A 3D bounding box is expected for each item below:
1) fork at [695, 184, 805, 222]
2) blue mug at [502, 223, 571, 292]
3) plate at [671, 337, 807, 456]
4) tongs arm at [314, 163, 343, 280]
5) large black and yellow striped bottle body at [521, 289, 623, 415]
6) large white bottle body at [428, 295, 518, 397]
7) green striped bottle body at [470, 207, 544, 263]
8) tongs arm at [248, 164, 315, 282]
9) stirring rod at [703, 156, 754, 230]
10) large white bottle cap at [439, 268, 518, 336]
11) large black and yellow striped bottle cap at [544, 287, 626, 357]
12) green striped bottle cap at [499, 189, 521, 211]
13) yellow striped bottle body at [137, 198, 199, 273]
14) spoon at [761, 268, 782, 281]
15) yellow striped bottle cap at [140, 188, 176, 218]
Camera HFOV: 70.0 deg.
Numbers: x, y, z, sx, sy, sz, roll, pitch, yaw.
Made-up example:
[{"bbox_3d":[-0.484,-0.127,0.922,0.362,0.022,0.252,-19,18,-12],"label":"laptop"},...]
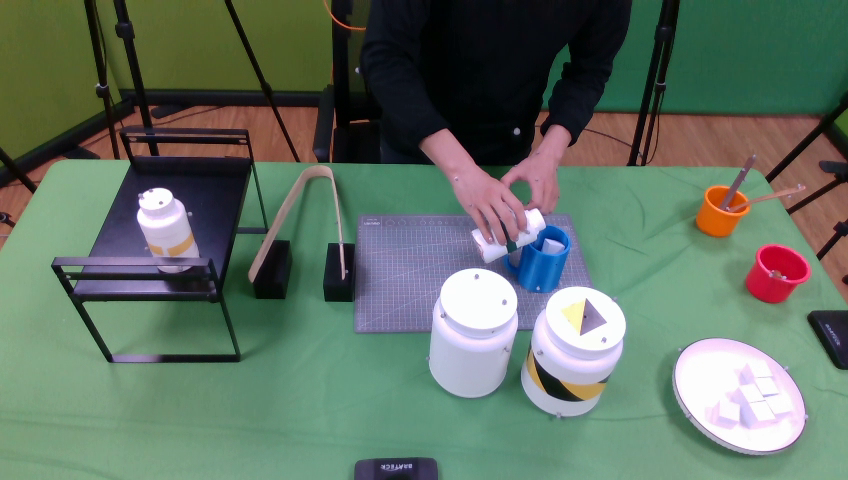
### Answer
[{"bbox_3d":[0.657,-0.075,1.230,0.207,0.019,0.028,-23,34,37],"label":"fork"},{"bbox_3d":[0.202,0.031,1.121,0.116,0.106,0.082,5,47,1],"label":"blue mug"},{"bbox_3d":[0.503,0.254,0.984,0.208,0.039,0.206,2,46,-2],"label":"plate"},{"bbox_3d":[-0.188,-0.049,1.170,0.051,0.026,0.382,-6,35,-6],"label":"tongs arm"},{"bbox_3d":[0.228,0.173,0.937,0.131,0.185,0.130,2,47,-2],"label":"large black and yellow striped bottle body"},{"bbox_3d":[0.075,0.147,0.950,0.131,0.185,0.130,2,46,-2],"label":"large white bottle body"},{"bbox_3d":[0.143,-0.014,1.029,0.119,0.063,0.062,-27,50,2],"label":"green striped bottle body"},{"bbox_3d":[-0.270,-0.047,1.165,0.028,0.028,0.385,-1,34,7],"label":"tongs arm"},{"bbox_3d":[0.631,-0.098,1.258,0.014,0.006,0.176,33,95,29],"label":"stirring rod"},{"bbox_3d":[0.080,0.089,0.888,0.115,0.018,0.114,2,47,-2],"label":"large white bottle cap"},{"bbox_3d":[0.232,0.116,0.876,0.115,0.019,0.114,2,46,-1],"label":"large black and yellow striped bottle cap"},{"bbox_3d":[0.159,-0.072,1.118,0.044,0.020,0.044,36,26,-21],"label":"green striped bottle cap"},{"bbox_3d":[-0.366,-0.014,0.864,0.063,0.121,0.062,2,46,-2],"label":"yellow striped bottle body"},{"bbox_3d":[0.638,0.060,1.105,0.041,0.021,0.194,38,11,24],"label":"spoon"},{"bbox_3d":[-0.363,-0.051,0.827,0.044,0.019,0.044,1,47,-1],"label":"yellow striped bottle cap"}]
